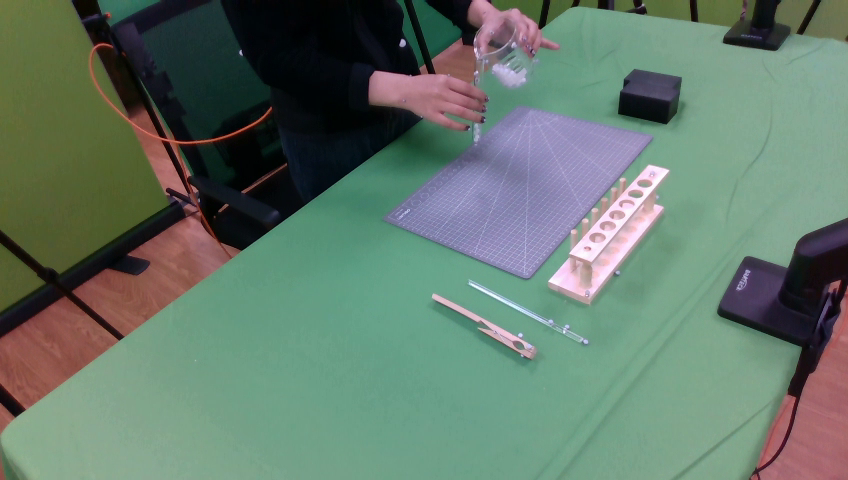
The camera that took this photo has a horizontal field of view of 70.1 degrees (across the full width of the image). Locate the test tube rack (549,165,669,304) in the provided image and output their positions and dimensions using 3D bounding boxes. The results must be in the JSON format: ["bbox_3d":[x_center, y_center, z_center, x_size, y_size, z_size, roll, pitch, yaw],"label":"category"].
[{"bbox_3d":[0.279,-0.018,0.902,0.066,0.085,0.243,24,50,33],"label":"test tube rack"}]

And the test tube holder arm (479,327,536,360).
[{"bbox_3d":[0.110,0.134,0.805,0.087,0.015,0.010,29,83,36],"label":"test tube holder arm"}]

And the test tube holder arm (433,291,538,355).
[{"bbox_3d":[0.081,0.112,0.832,0.177,0.015,0.013,28,82,36],"label":"test tube holder arm"}]

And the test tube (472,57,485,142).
[{"bbox_3d":[0.091,-0.235,1.024,0.017,0.151,0.017,0,37,1],"label":"test tube"}]

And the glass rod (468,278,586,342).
[{"bbox_3d":[0.140,0.096,0.853,0.198,0.008,0.008,27,52,35],"label":"glass rod"}]

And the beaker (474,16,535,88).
[{"bbox_3d":[0.136,-0.308,1.012,0.084,0.101,0.073,-48,50,1],"label":"beaker"}]
